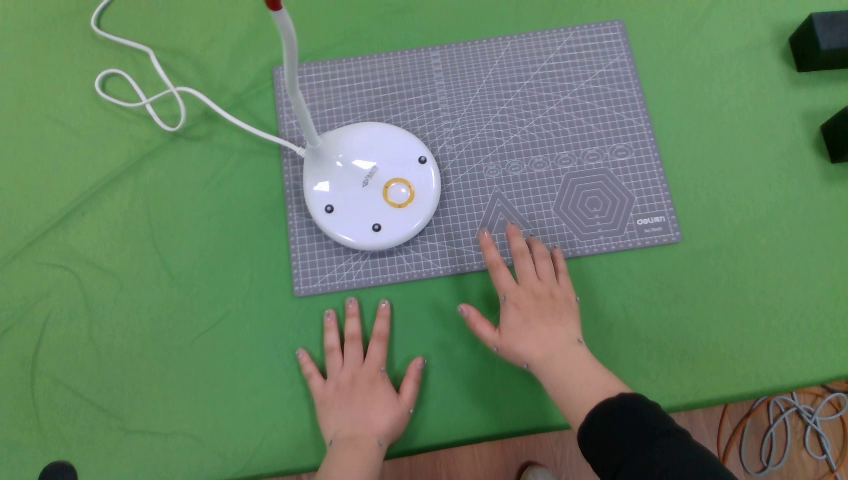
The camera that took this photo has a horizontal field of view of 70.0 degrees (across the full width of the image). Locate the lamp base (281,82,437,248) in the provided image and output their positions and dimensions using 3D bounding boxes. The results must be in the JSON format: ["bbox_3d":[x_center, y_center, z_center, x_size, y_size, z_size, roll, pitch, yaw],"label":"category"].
[{"bbox_3d":[-0.079,-0.093,0.635,0.179,0.181,0.160,18,75,9],"label":"lamp base"}]
